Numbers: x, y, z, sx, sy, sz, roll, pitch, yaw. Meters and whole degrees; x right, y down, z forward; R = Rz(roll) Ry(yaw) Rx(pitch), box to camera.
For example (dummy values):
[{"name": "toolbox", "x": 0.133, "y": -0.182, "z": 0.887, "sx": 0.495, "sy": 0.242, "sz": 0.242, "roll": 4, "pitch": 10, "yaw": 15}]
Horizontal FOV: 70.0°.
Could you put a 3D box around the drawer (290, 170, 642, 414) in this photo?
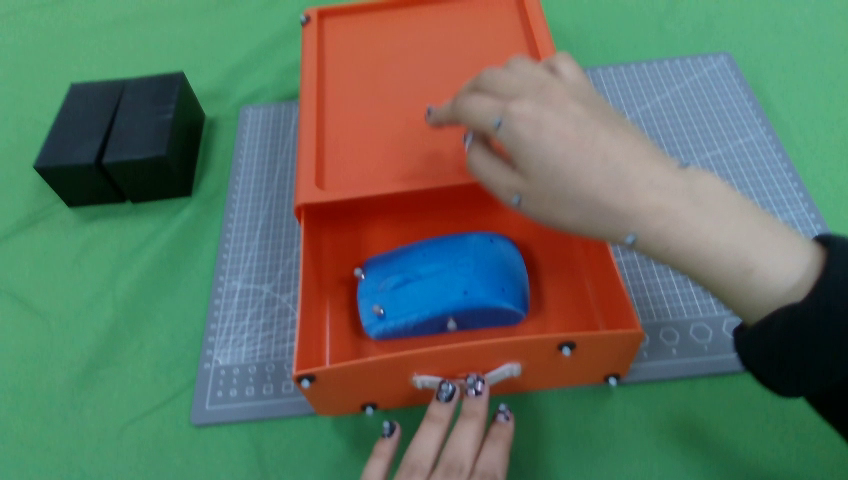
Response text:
[{"name": "drawer", "x": 0.016, "y": 0.000, "z": 0.411, "sx": 0.194, "sy": 0.074, "sz": 0.209, "roll": -8, "pitch": 54, "yaw": 1}]

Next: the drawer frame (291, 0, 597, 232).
[{"name": "drawer frame", "x": 0.007, "y": -0.094, "z": 0.476, "sx": 0.202, "sy": 0.083, "sz": 0.211, "roll": -8, "pitch": 54, "yaw": 1}]

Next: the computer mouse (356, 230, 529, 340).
[{"name": "computer mouse", "x": 0.011, "y": 0.029, "z": 0.406, "sx": 0.117, "sy": 0.041, "sz": 0.062, "roll": -9, "pitch": 60, "yaw": 6}]
